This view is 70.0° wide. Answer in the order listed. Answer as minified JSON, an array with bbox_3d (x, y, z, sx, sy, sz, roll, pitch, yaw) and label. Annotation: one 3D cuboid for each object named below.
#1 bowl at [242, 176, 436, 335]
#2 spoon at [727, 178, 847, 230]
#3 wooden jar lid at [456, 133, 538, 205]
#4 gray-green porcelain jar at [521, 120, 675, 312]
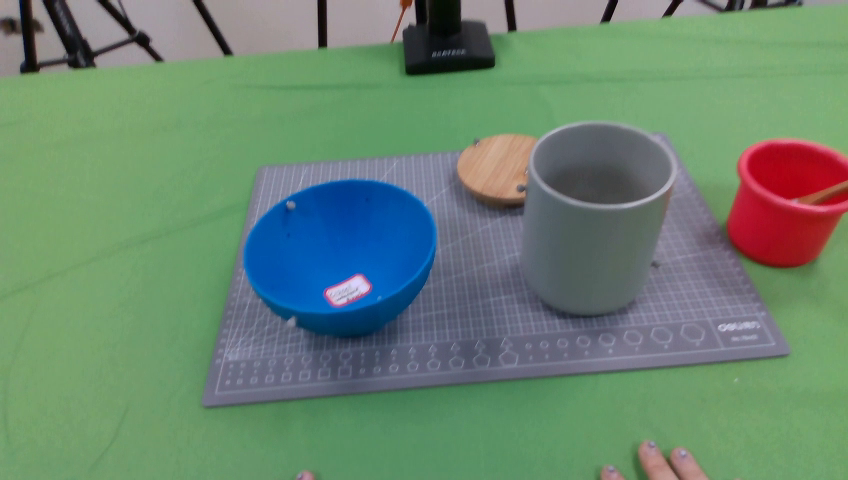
[{"bbox_3d":[-0.063,0.024,0.494,0.151,0.077,0.150,-2,44,2],"label":"bowl"},{"bbox_3d":[0.342,-0.042,0.486,0.022,0.193,0.041,50,51,-11],"label":"spoon"},{"bbox_3d":[0.087,-0.073,0.624,0.108,0.021,0.107,-3,43,3],"label":"wooden jar lid"},{"bbox_3d":[0.131,-0.013,0.482,0.106,0.128,0.105,-2,44,3],"label":"gray-green porcelain jar"}]
